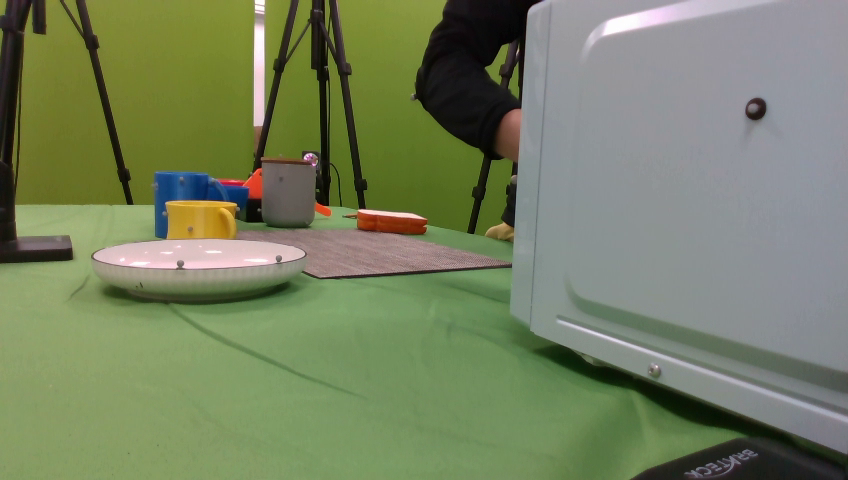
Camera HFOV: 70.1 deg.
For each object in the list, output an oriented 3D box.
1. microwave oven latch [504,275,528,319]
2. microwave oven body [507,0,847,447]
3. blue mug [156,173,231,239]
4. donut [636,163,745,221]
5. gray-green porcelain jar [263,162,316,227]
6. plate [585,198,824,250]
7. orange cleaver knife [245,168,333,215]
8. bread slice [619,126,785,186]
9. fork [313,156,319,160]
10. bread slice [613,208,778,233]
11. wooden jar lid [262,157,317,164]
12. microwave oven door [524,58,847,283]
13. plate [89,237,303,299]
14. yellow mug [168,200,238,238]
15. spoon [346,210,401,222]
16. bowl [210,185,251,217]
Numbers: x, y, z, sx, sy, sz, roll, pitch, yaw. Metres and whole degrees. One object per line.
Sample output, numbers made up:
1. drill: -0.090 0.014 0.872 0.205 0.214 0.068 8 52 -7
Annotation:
1. microwave oven latch: 0.100 0.042 0.470 0.079 0.029 0.030 -1 7 -27
2. microwave oven body: 0.331 -0.042 0.425 0.444 0.260 0.324 -2 8 -31
3. blue mug: -0.381 -0.057 1.004 0.117 0.106 0.082 1 8 -12
4. donut: 0.256 -0.046 0.584 0.099 0.048 0.099 -12 3 1
5. gray-green porcelain jar: -0.271 -0.092 1.217 0.106 0.126 0.106 2 7 0
6. plate: 0.263 -0.017 0.584 0.209 0.038 0.209 -3 5 1
7. orange cleaver knife: -0.300 -0.089 1.352 0.212 0.077 0.012 28 -9 -34
8. bread slice: 0.258 -0.078 0.578 0.135 0.018 0.106 -16 1 -23
9. fork: -0.331 -0.144 1.506 0.207 0.018 0.028 -42 -19 22
10. bread slice: 0.269 -0.020 0.593 0.132 0.019 0.104 -4 3 -14
11. wooden jar lid: -0.269 -0.154 1.208 0.108 0.020 0.108 3 4 0
12. microwave oven door: 0.300 -0.090 0.748 0.354 0.243 0.039 6 9 32
13. plate: -0.233 0.029 0.636 0.208 0.039 0.207 2 7 0
14. yellow mug: -0.319 -0.023 0.904 0.130 0.064 0.100 9 11 36
15. spoon: -0.120 -0.060 1.400 0.042 0.021 0.192 -27 24 -38
16. bowl: -0.408 -0.064 1.154 0.151 0.077 0.151 2 8 0
